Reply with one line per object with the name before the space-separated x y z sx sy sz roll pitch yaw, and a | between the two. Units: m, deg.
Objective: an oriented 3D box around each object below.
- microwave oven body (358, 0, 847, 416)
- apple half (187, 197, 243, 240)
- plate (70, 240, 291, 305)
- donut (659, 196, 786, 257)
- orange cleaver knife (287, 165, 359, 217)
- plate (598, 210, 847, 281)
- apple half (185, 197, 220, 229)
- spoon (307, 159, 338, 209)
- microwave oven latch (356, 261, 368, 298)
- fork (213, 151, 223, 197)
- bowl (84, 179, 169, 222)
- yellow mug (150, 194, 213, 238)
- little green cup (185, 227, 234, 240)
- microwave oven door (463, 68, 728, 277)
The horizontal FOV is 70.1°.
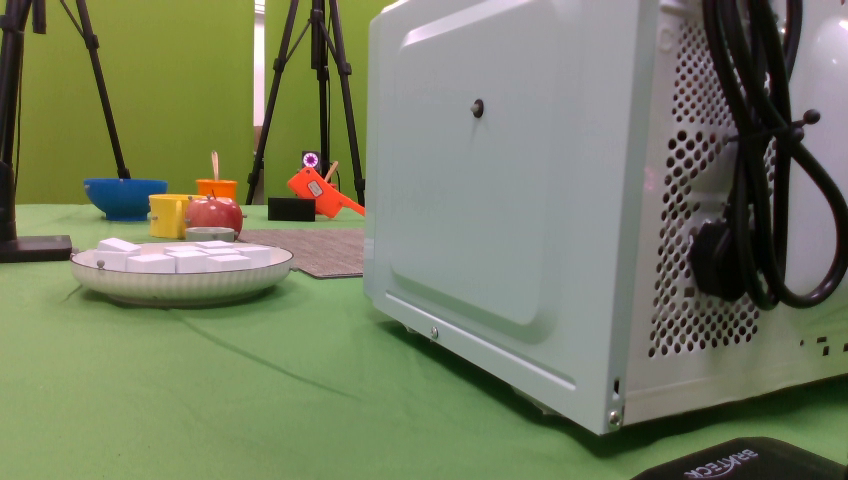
microwave oven body | 0.210 -0.047 0.475 0.444 0.260 0.324 -1 7 -28
apple half | -0.305 -0.026 0.907 0.053 0.074 0.081 12 8 31
plate | -0.242 0.031 0.618 0.208 0.039 0.207 2 8 0
donut | 0.253 -0.011 0.516 0.099 0.048 0.099 5 8 0
orange cleaver knife | -0.211 -0.092 1.382 0.212 0.077 0.012 33 2 -15
plate | 0.256 0.002 0.519 0.209 0.038 0.209 3 8 0
apple half | -0.338 -0.031 0.927 0.032 0.081 0.081 12 12 31
spoon | -0.257 -0.147 1.567 0.041 0.022 0.193 0 50 21
microwave oven latch | -0.020 0.033 0.530 0.079 0.029 0.030 0 7 -26
fork | -0.493 -0.143 1.442 0.028 0.018 0.206 -3 52 -18
bowl | -0.584 -0.078 1.194 0.151 0.077 0.151 3 8 0
yellow mug | -0.401 -0.040 1.003 0.100 0.064 0.130 -1 9 -20
little green cup | -0.285 0.005 0.805 0.061 0.038 0.061 2 8 0
microwave oven door | 0.205 -0.096 0.812 0.354 0.243 0.039 9 10 41
